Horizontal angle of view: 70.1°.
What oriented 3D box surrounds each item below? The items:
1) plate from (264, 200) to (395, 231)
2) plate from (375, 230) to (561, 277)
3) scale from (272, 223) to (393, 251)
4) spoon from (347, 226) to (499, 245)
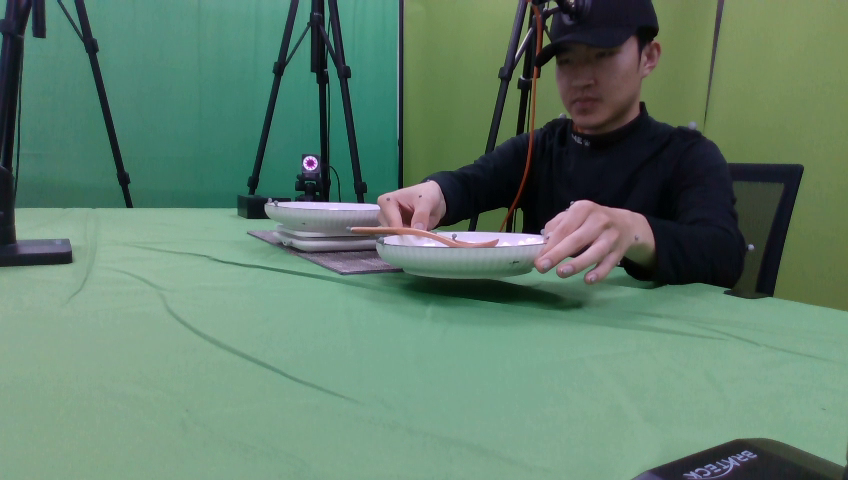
[{"bbox_3d":[-0.150,-0.040,0.971,0.208,0.039,0.207,2,7,0],"label":"plate"},{"bbox_3d":[0.050,0.014,0.686,0.209,0.038,0.209,-1,4,0],"label":"plate"},{"bbox_3d":[-0.131,-0.008,0.984,0.202,0.031,0.148,-2,8,-32],"label":"scale"},{"bbox_3d":[-0.004,-0.007,0.737,0.193,0.021,0.042,9,9,18],"label":"spoon"}]
